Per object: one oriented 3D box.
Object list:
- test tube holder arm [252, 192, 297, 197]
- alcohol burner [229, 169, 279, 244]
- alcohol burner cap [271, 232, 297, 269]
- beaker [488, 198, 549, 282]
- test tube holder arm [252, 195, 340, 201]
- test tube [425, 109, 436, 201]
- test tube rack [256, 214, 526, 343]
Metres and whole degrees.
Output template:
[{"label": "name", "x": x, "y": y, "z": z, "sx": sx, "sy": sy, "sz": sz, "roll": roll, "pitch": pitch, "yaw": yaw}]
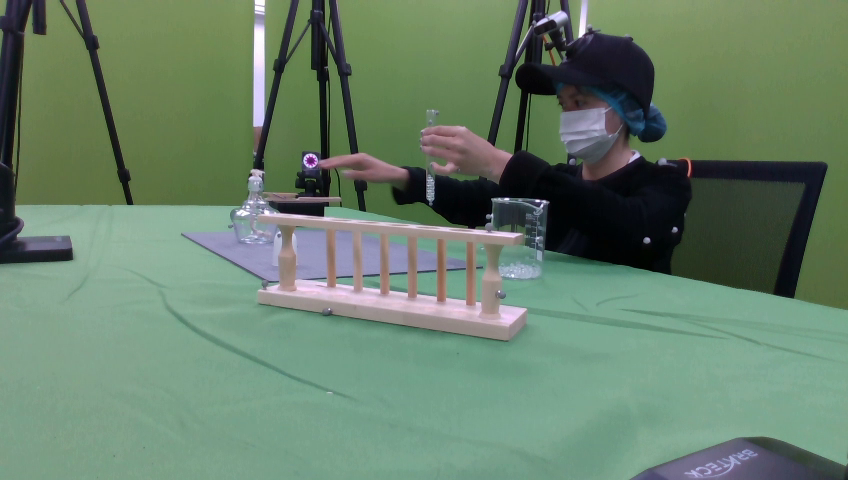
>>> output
[{"label": "test tube holder arm", "x": -0.301, "y": -0.092, "z": 1.223, "sx": 0.088, "sy": 0.010, "sz": 0.015, "roll": 0, "pitch": 7, "yaw": -25}, {"label": "alcohol burner", "x": -0.268, "y": -0.053, "z": 0.958, "sx": 0.078, "sy": 0.119, "sz": 0.078, "roll": 2, "pitch": 5, "yaw": 0}, {"label": "alcohol burner cap", "x": -0.175, "y": 0.012, "z": 0.760, "sx": 0.034, "sy": 0.048, "sz": 0.034, "roll": 2, "pitch": 8, "yaw": 0}, {"label": "beaker", "x": 0.120, "y": -0.001, "z": 0.768, "sx": 0.074, "sy": 0.100, "sz": 0.083, "roll": -1, "pitch": 9, "yaw": -25}, {"label": "test tube holder arm", "x": -0.260, "y": -0.087, "z": 1.242, "sx": 0.179, "sy": 0.013, "sz": 0.015, "roll": -1, "pitch": 7, "yaw": -25}, {"label": "test tube", "x": 0.010, "y": -0.138, "z": 0.990, "sx": 0.017, "sy": 0.150, "sz": 0.017, "roll": 0, "pitch": 11, "yaw": 0}, {"label": "test tube rack", "x": -0.032, "y": 0.027, "z": 0.547, "sx": 0.241, "sy": 0.085, "sz": 0.067, "roll": 5, "pitch": 7, "yaw": 22}]
